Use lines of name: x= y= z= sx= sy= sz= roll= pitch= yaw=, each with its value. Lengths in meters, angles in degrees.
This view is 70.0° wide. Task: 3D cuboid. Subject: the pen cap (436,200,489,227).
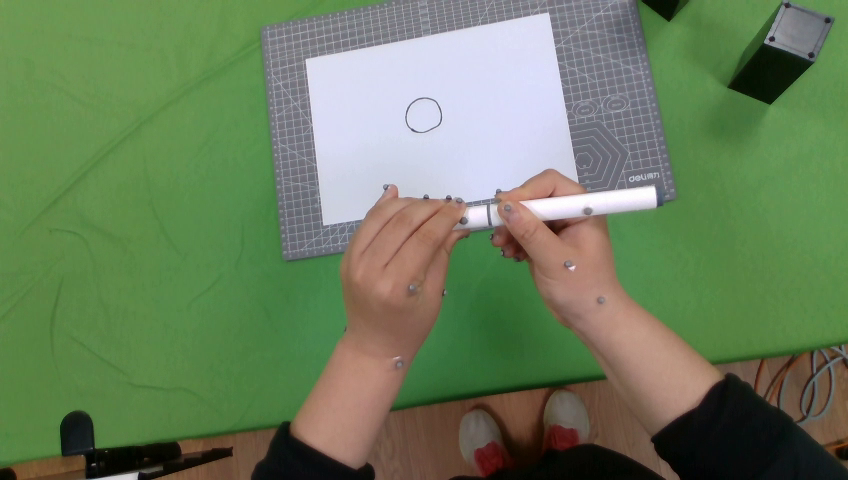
pen cap: x=0.028 y=-0.019 z=0.432 sx=0.038 sy=0.017 sz=0.017 roll=-9 pitch=80 yaw=3

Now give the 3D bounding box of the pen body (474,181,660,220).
pen body: x=0.086 y=-0.026 z=0.419 sx=0.144 sy=0.017 sz=0.017 roll=-5 pitch=80 yaw=12
